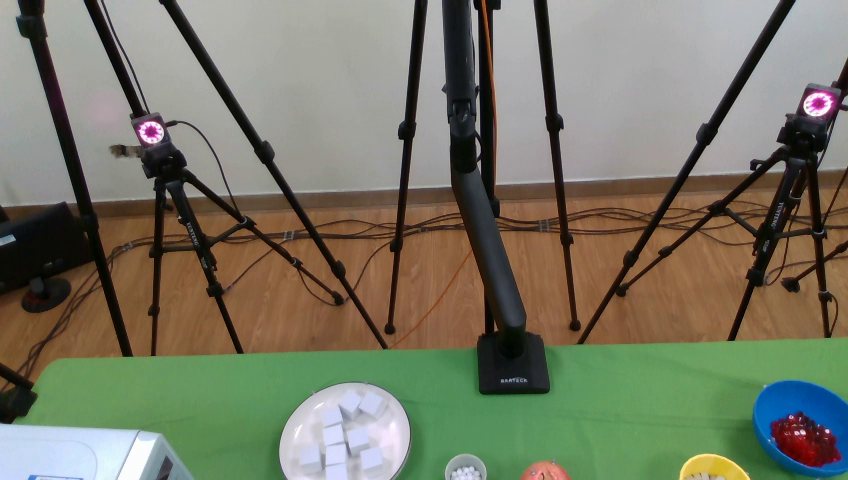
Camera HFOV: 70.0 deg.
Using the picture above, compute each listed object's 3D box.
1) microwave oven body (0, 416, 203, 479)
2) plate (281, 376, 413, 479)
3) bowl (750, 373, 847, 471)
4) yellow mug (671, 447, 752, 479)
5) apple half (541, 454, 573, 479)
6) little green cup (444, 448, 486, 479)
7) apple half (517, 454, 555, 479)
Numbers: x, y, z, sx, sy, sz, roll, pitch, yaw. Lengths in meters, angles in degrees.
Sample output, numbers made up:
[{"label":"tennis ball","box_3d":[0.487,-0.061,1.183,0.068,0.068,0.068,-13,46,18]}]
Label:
[{"label":"microwave oven body","box_3d":[-0.485,0.456,0.682,0.326,0.263,0.437,1,45,6]},{"label":"plate","box_3d":[-0.119,0.314,0.964,0.207,0.039,0.205,-3,44,3]},{"label":"bowl","box_3d":[0.559,0.283,0.902,0.151,0.077,0.150,-3,44,3]},{"label":"yellow mug","box_3d":[0.389,0.359,0.848,0.131,0.064,0.099,-25,48,-18]},{"label":"apple half","box_3d":[0.196,0.345,0.874,0.033,0.082,0.080,-19,45,-8]},{"label":"little green cup","box_3d":[0.063,0.349,0.909,0.061,0.039,0.061,-3,43,3]},{"label":"apple half","box_3d":[0.160,0.357,0.868,0.053,0.075,0.080,-19,49,-7]}]
